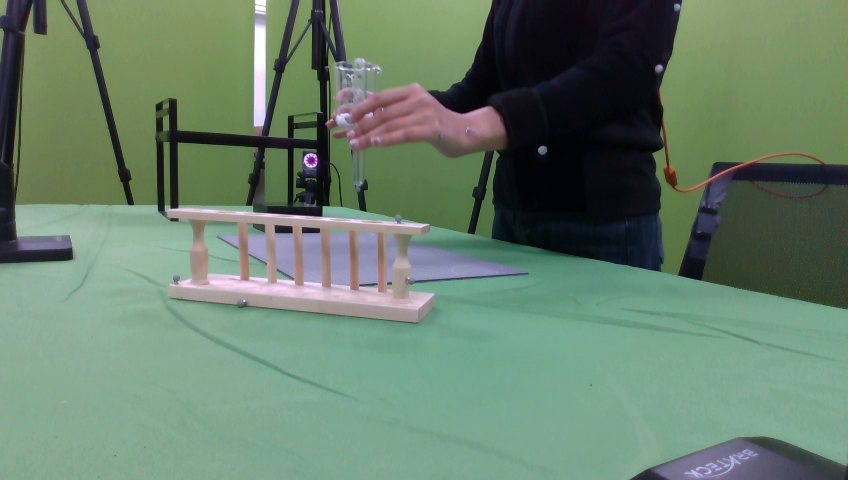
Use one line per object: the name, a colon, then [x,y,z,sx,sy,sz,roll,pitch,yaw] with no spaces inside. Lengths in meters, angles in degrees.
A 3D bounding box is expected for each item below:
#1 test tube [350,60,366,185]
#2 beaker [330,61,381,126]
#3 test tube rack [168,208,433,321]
test tube: [-0.081,-0.143,0.738,0.017,0.150,0.017,2,5,0]
beaker: [-0.114,-0.241,1.009,0.084,0.100,0.074,0,9,-5]
test tube rack: [-0.116,0.017,0.574,0.242,0.085,0.067,4,8,13]
